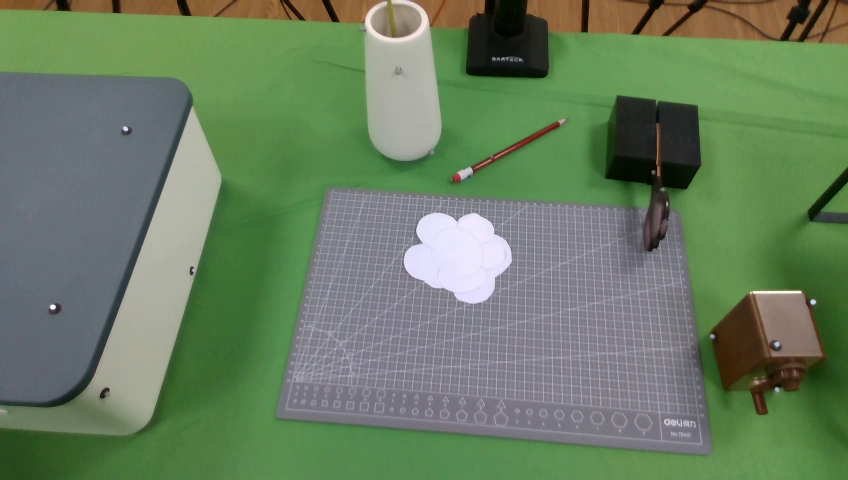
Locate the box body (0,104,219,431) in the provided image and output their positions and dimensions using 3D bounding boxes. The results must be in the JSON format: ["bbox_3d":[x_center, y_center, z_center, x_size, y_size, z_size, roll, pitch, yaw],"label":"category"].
[{"bbox_3d":[-0.393,0.010,0.651,0.254,0.162,0.361,3,60,2],"label":"box body"}]

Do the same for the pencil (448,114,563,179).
[{"bbox_3d":[0.113,-0.128,0.812,0.194,0.012,0.012,-30,63,-17],"label":"pencil"}]

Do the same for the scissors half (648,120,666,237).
[{"bbox_3d":[0.276,-0.080,0.724,0.013,0.040,0.174,6,56,6],"label":"scissors half"}]

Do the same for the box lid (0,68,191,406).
[{"bbox_3d":[-0.395,-0.030,0.587,0.263,0.015,0.368,3,60,2],"label":"box lid"}]

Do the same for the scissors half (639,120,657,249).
[{"bbox_3d":[0.276,-0.071,0.742,0.013,0.040,0.174,9,73,2],"label":"scissors half"}]

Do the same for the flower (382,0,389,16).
[{"bbox_3d":[-0.040,-0.246,0.677,0.044,0.365,0.038,-3,42,3],"label":"flower"}]

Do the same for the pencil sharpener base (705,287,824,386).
[{"bbox_3d":[0.343,0.104,0.618,0.061,0.108,0.076,0,60,1],"label":"pencil sharpener base"}]

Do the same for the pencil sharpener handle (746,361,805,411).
[{"bbox_3d":[0.338,0.142,0.582,0.036,0.068,0.030,7,59,-12],"label":"pencil sharpener handle"}]

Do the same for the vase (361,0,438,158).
[{"bbox_3d":[-0.032,-0.192,0.741,0.098,0.201,0.097,-1,59,2],"label":"vase"}]
